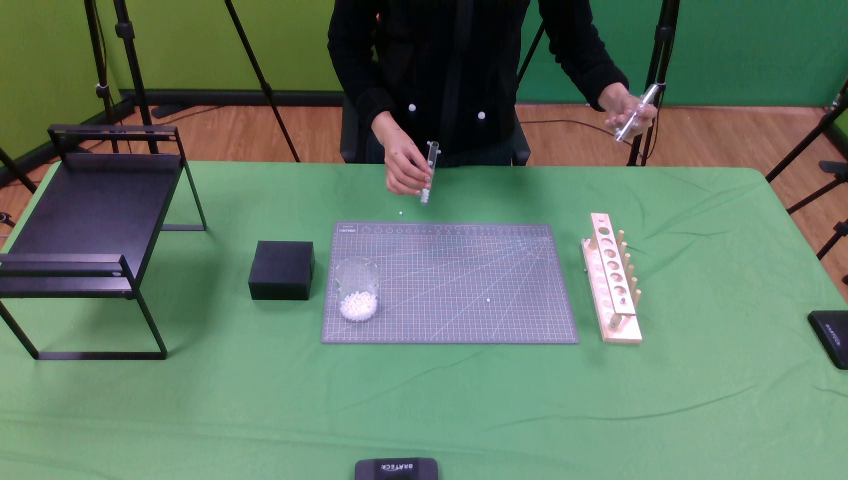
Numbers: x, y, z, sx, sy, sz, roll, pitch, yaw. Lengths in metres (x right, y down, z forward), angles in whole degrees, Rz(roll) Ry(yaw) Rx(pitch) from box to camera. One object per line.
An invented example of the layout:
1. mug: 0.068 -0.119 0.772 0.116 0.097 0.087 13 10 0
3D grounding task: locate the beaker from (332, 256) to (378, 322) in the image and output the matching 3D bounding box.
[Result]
1. beaker: -0.114 0.089 1.047 0.083 0.101 0.074 30 52 21

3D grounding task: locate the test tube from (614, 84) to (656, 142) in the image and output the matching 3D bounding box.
1. test tube: 0.357 -0.216 1.022 0.017 0.017 0.150 28 60 21

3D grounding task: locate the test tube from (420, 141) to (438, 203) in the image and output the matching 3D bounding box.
1. test tube: 0.008 -0.121 1.112 0.017 0.151 0.017 5 50 -6

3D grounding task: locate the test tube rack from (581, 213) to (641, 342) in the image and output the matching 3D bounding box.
1. test tube rack: 0.351 0.064 1.121 0.067 0.085 0.241 3 46 -1
